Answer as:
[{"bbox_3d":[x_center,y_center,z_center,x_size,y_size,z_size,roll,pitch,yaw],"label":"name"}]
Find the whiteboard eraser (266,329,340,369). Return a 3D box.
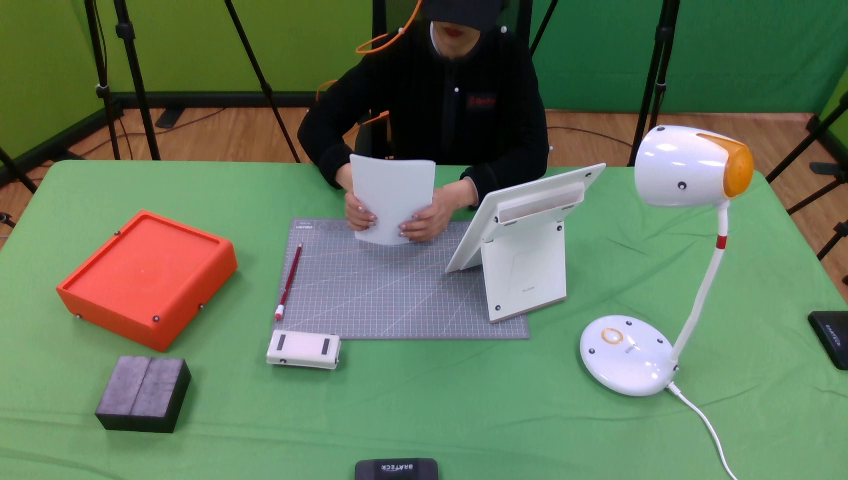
[{"bbox_3d":[-0.198,0.181,0.994,0.113,0.042,0.055,5,45,1],"label":"whiteboard eraser"}]

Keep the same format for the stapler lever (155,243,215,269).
[{"bbox_3d":[-0.433,0.023,1.097,0.118,0.040,0.026,14,39,14],"label":"stapler lever"}]

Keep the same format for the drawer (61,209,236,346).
[{"bbox_3d":[-0.474,0.061,1.062,0.194,0.073,0.211,19,48,13],"label":"drawer"}]

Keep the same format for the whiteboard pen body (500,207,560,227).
[{"bbox_3d":[0.222,-0.051,1.259,0.141,0.017,0.017,-15,49,-16],"label":"whiteboard pen body"}]

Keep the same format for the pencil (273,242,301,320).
[{"bbox_3d":[-0.249,0.071,1.115,0.012,0.012,0.193,5,43,1],"label":"pencil"}]

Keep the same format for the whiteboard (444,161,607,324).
[{"bbox_3d":[0.186,0.025,1.029,0.217,0.306,0.143,-15,68,-18],"label":"whiteboard"}]

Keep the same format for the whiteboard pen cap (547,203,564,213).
[{"bbox_3d":[0.277,-0.066,1.275,0.033,0.018,0.018,-18,50,-15],"label":"whiteboard pen cap"}]

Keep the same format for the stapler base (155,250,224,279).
[{"bbox_3d":[-0.431,0.040,1.110,0.130,0.024,0.041,11,38,17],"label":"stapler base"}]

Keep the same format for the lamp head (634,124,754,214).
[{"bbox_3d":[0.351,-0.089,0.775,0.112,0.113,0.122,-30,30,-28],"label":"lamp head"}]

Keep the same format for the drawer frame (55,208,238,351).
[{"bbox_3d":[-0.474,0.062,1.059,0.201,0.083,0.213,18,48,12],"label":"drawer frame"}]

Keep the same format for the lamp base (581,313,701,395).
[{"bbox_3d":[0.361,0.144,0.973,0.178,0.181,0.160,34,53,23],"label":"lamp base"}]
